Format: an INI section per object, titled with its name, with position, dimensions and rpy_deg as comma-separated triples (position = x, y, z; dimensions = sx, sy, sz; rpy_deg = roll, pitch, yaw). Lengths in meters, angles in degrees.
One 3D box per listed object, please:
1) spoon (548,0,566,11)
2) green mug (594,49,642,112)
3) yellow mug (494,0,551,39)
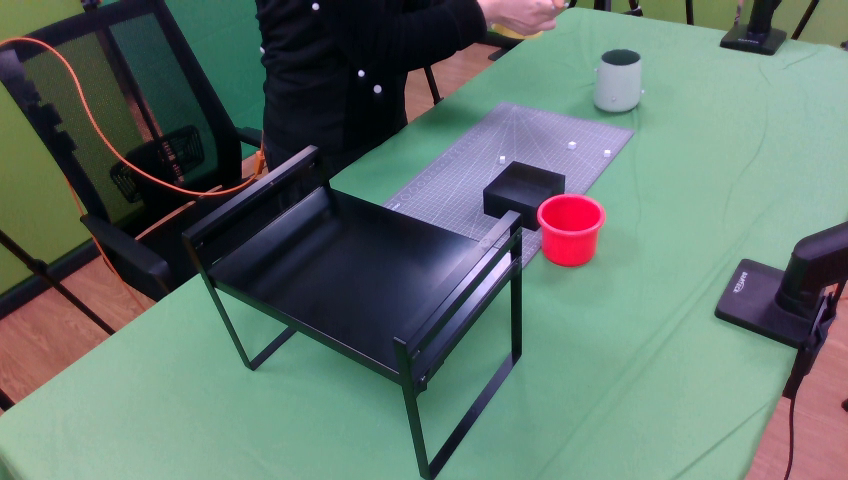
[spoon]
position = 0.225, -0.417, 1.041
dimensions = 0.041, 0.022, 0.193
rpy_deg = -2, 27, 6
[green mug]
position = 0.397, -0.333, 1.240
dimensions = 0.092, 0.105, 0.125
rpy_deg = -3, 41, 7
[yellow mug]
position = 0.185, -0.445, 1.163
dimensions = 0.100, 0.064, 0.130
rpy_deg = 0, 43, -7
